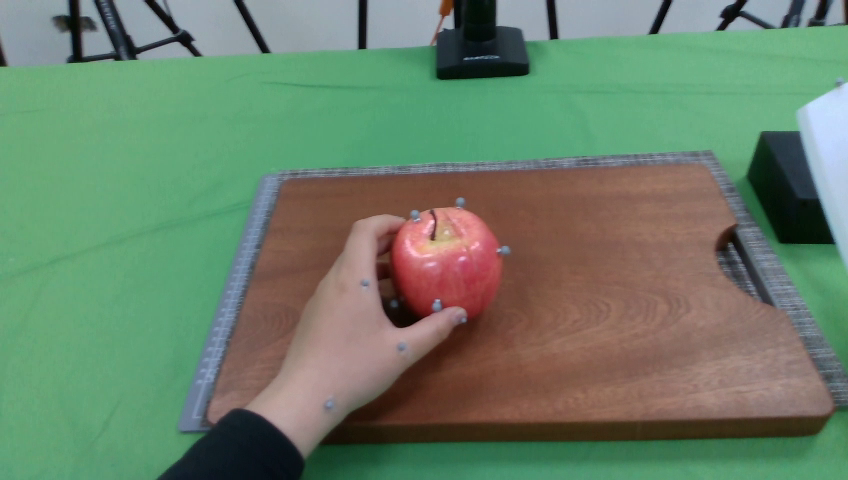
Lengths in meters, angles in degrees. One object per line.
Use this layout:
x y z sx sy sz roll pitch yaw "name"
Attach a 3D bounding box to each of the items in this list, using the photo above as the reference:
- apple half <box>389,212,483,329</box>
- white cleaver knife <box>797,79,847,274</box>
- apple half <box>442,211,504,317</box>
0.004 0.026 0.430 0.053 0.075 0.080 -20 48 -9 "apple half"
0.337 0.005 0.438 0.021 0.066 0.284 10 60 -19 "white cleaver knife"
0.040 0.014 0.437 0.033 0.082 0.080 -21 44 -9 "apple half"
